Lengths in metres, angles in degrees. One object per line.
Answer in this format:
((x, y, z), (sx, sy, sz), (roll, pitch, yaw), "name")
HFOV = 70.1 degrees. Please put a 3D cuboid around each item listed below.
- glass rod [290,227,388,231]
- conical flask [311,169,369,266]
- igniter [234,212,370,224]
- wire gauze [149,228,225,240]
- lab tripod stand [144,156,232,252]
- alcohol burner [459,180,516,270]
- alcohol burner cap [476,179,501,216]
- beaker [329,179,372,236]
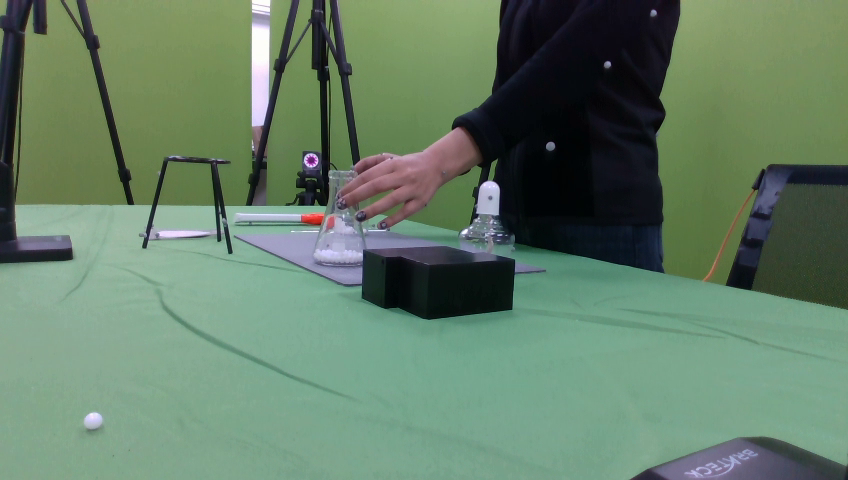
((-0.161, -0.022, 1.177), (0.201, 0.008, 0.008), (-2, 8, -28), "glass rod")
((-0.108, -0.031, 0.786), (0.075, 0.122, 0.075), (2, 8, 0), "conical flask")
((-0.247, -0.046, 1.253), (0.278, 0.025, 0.057), (-1, -3, -27), "igniter")
((-0.400, -0.012, 1.019), (0.122, 0.011, 0.124), (-1, 6, -26), "wire gauze")
((-0.325, -0.054, 0.881), (0.148, 0.131, 0.148), (4, 7, 0), "lab tripod stand")
((0.085, -0.021, 0.806), (0.078, 0.119, 0.078), (3, 9, 0), "alcohol burner")
((0.086, -0.057, 0.801), (0.034, 0.048, 0.034), (4, 3, 0), "alcohol burner cap")
((-0.137, -0.060, 1.101), (0.084, 0.100, 0.074), (4, 7, 20), "beaker")
